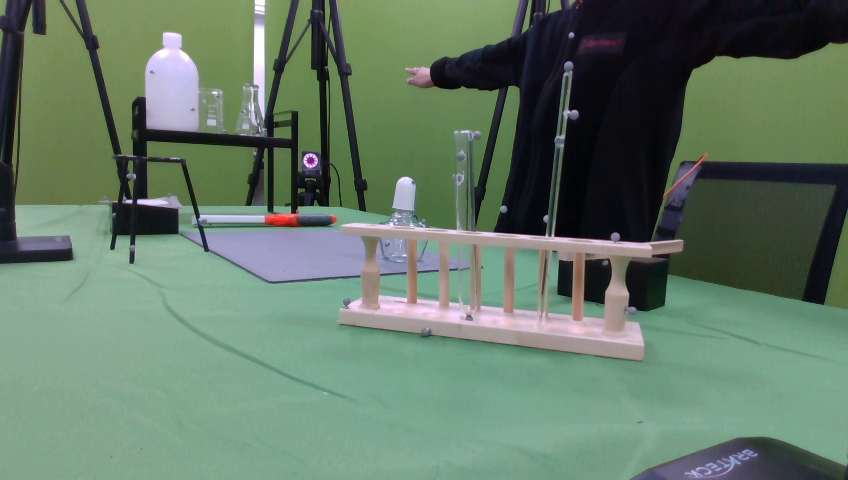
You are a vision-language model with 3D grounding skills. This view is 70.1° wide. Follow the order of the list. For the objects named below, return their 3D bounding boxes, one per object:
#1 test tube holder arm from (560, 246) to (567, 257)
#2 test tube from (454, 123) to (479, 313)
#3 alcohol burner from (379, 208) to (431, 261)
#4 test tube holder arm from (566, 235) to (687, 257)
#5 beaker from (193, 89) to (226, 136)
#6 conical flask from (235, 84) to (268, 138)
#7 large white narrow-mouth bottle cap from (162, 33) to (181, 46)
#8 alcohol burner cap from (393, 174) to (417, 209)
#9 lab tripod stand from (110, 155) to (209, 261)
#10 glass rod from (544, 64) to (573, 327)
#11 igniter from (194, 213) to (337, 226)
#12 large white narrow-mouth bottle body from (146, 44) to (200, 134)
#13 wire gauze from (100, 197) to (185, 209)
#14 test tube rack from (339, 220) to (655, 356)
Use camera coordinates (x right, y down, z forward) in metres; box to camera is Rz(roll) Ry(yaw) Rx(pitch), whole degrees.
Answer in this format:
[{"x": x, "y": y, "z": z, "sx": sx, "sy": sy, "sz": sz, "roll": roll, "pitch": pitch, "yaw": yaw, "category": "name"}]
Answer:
[{"x": 0.173, "y": 0.007, "z": 0.611, "sx": 0.088, "sy": 0.015, "sz": 0.010, "roll": -3, "pitch": 9, "yaw": -30, "category": "test tube holder arm"}, {"x": 0.034, "y": -0.016, "z": 0.477, "sx": 0.017, "sy": 0.150, "sz": 0.017, "roll": -2, "pitch": 9, "yaw": 1, "category": "test tube"}, {"x": -0.027, "y": -0.031, "z": 0.838, "sx": 0.078, "sy": 0.119, "sz": 0.078, "roll": 0, "pitch": 6, "yaw": 0, "category": "alcohol burner"}, {"x": 0.215, "y": 0.006, "z": 0.630, "sx": 0.179, "sy": 0.015, "sz": 0.013, "roll": -3, "pitch": 9, "yaw": -30, "category": "test tube holder arm"}, {"x": -0.485, "y": -0.284, "z": 1.353, "sx": 0.073, "sy": 0.100, "sz": 0.084, "roll": 9, "pitch": 10, "yaw": 42, "category": "beaker"}, {"x": -0.401, "y": -0.299, "z": 1.406, "sx": 0.075, "sy": 0.122, "sz": 0.075, "roll": 2, "pitch": 7, "yaw": 0, "category": "conical flask"}, {"x": -0.510, "y": -0.403, "z": 1.224, "sx": 0.038, "sy": 0.024, "sz": 0.037, "roll": 2, "pitch": 7, "yaw": 0, "category": "large white narrow-mouth bottle cap"}, {"x": -0.025, "y": -0.067, "z": 0.834, "sx": 0.034, "sy": 0.048, "sz": 0.034, "roll": 8, "pitch": 7, "yaw": -1, "category": "alcohol burner cap"}, {"x": -0.361, "y": -0.046, "z": 0.806, "sx": 0.148, "sy": 0.131, "sz": 0.148, "roll": 2, "pitch": 5, "yaw": 0, "category": "lab tripod stand"}, {"x": 0.101, "y": -0.028, "z": 0.453, "sx": 0.008, "sy": 0.199, "sz": 0.008, "roll": 2, "pitch": 14, "yaw": 0, "category": "glass rod"}, {"x": -0.306, "y": -0.041, "z": 1.197, "sx": 0.278, "sy": 0.025, "sz": 0.057, "roll": -2, "pitch": -2, "yaw": -30, "category": "igniter"}, {"x": -0.512, "y": -0.318, "z": 1.234, "sx": 0.102, "sy": 0.194, "sz": 0.102, "roll": 2, "pitch": 7, "yaw": 0, "category": "large white narrow-mouth bottle body"}, {"x": -0.469, "y": -0.062, "z": 1.008, "sx": 0.126, "sy": 0.011, "sz": 0.121, "roll": -2, "pitch": 8, "yaw": -25, "category": "wire gauze"}, {"x": 0.056, "y": 0.032, "z": 0.495, "sx": 0.242, "sy": 0.085, "sz": 0.067, "roll": 4, "pitch": 7, "yaw": 15, "category": "test tube rack"}]
